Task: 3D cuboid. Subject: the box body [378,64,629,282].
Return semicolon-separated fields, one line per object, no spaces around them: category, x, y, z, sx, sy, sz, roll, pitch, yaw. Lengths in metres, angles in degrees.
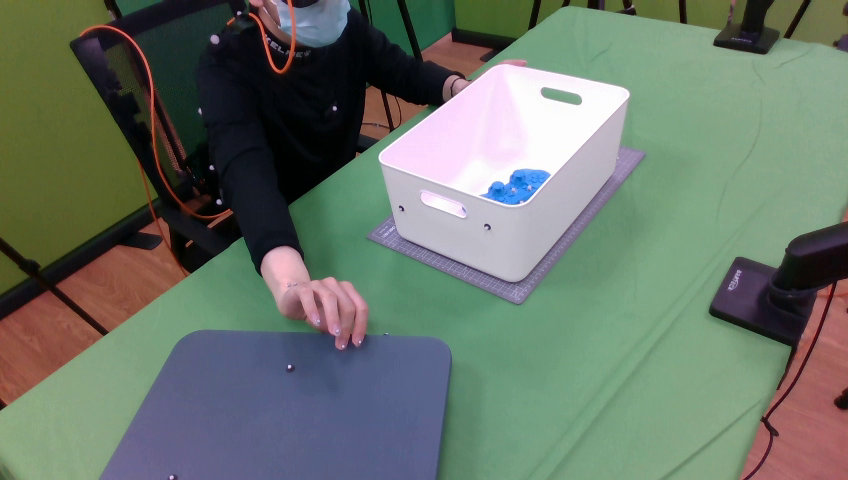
box body;0.137;-0.121;0.978;0.252;0.161;0.365;22;48;30

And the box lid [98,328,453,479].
box lid;-0.157;0.209;0.689;0.371;0.015;0.262;1;41;9

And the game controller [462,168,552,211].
game controller;0.147;-0.079;1.007;0.156;0.052;0.096;-29;50;-24
